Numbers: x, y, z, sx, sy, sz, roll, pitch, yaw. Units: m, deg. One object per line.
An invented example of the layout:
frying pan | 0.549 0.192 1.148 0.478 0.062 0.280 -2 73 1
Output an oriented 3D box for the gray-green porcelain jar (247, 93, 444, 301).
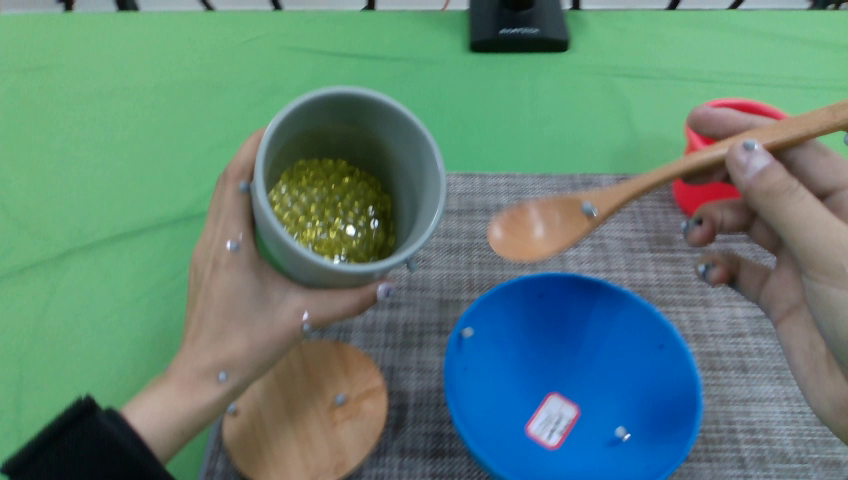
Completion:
gray-green porcelain jar | -0.057 -0.018 0.385 0.106 0.126 0.105 4 77 -18

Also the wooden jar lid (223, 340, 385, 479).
wooden jar lid | -0.080 0.119 0.412 0.108 0.021 0.107 -1 48 1

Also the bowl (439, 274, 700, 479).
bowl | 0.085 0.103 0.384 0.151 0.077 0.150 0 49 1

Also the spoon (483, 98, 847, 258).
spoon | 0.113 -0.030 0.275 0.193 0.022 0.041 -21 46 34
